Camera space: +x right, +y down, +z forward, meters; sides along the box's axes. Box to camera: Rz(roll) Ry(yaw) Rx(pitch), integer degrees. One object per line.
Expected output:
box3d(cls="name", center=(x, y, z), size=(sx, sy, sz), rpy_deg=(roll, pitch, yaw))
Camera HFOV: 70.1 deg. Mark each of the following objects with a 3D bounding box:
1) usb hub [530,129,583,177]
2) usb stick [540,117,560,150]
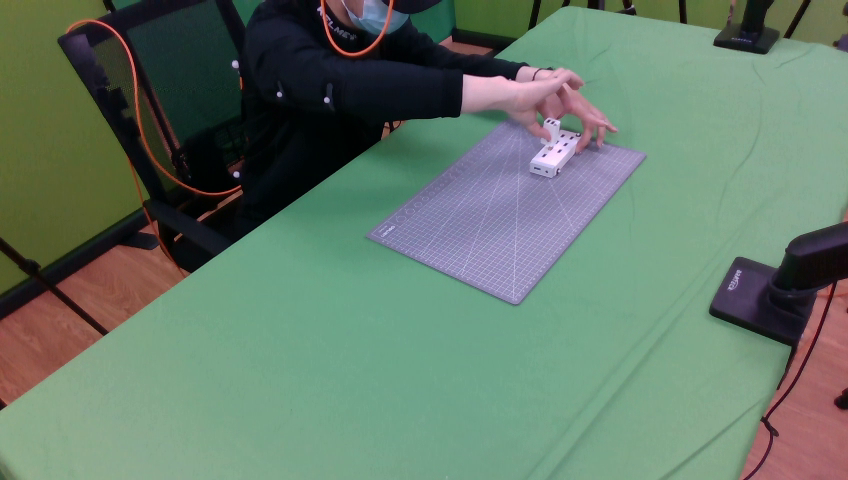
box3d(cls="usb hub", center=(0.246, -0.161, 1.115), size=(0.049, 0.025, 0.125), rpy_deg=(22, 49, 29))
box3d(cls="usb stick", center=(0.228, -0.190, 1.092), size=(0.027, 0.059, 0.021), rpy_deg=(27, 53, 27))
